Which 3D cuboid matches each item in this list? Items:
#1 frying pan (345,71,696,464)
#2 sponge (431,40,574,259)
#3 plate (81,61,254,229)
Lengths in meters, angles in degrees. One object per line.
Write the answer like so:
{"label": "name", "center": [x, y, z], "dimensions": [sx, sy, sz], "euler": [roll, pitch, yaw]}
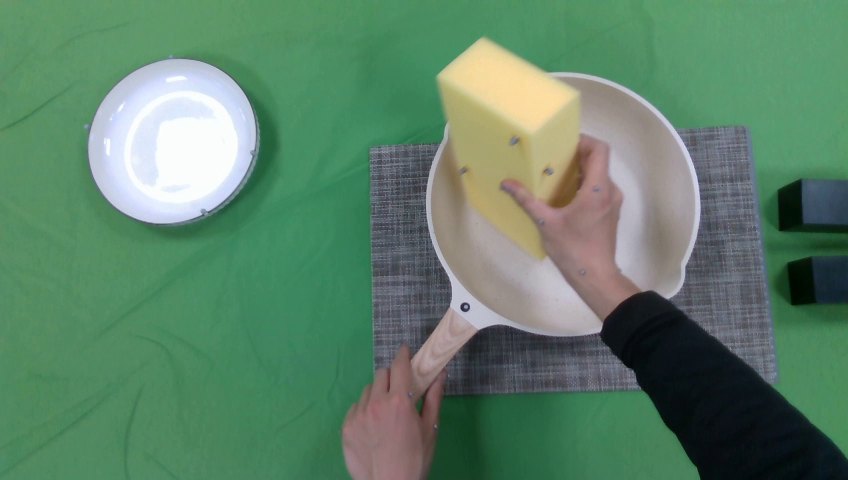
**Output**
{"label": "frying pan", "center": [0.079, 0.036, 0.658], "dimensions": [0.306, 0.103, 0.487], "euler": [39, 77, 9]}
{"label": "sponge", "center": [0.086, -0.082, 0.610], "dimensions": [0.061, 0.209, 0.117], "euler": [-43, 59, -14]}
{"label": "plate", "center": [-0.305, -0.112, 0.736], "dimensions": [0.207, 0.039, 0.207], "euler": [0, 81, 2]}
